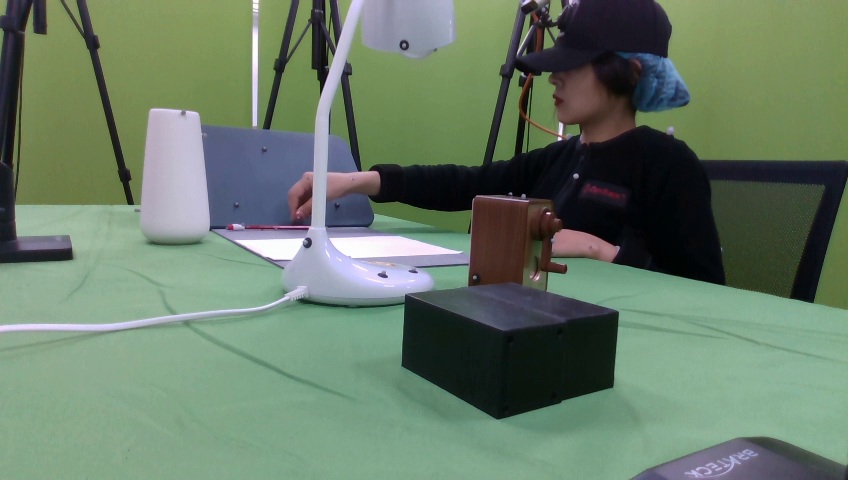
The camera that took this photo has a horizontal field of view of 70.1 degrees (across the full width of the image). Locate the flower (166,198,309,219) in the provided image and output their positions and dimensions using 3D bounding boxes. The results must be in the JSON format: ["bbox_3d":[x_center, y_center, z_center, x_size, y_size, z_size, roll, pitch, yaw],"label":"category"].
[{"bbox_3d":[-0.399,-0.061,1.357,0.044,0.038,0.364,-38,-23,31],"label":"flower"}]

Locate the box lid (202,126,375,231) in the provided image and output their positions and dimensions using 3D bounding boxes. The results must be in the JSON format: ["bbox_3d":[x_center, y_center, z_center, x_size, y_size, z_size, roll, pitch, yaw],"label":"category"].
[{"bbox_3d":[-0.294,-0.128,1.235,0.373,0.262,0.015,-2,-35,-32],"label":"box lid"}]

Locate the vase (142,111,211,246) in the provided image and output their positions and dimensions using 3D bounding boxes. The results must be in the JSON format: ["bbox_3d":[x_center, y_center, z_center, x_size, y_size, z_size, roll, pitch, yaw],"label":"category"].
[{"bbox_3d":[-0.378,-0.093,0.920,0.098,0.200,0.098,2,9,0],"label":"vase"}]

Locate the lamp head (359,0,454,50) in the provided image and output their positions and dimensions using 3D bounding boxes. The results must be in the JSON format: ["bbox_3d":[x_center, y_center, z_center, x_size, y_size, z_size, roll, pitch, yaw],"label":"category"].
[{"bbox_3d":[-0.024,-0.282,0.674,0.112,0.123,0.112,-3,38,3],"label":"lamp head"}]

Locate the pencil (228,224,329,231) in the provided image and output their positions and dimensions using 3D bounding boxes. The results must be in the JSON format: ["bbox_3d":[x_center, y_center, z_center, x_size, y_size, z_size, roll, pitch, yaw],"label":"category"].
[{"bbox_3d":[-0.266,-0.023,1.124,0.195,0.012,0.012,-1,8,-32],"label":"pencil"}]

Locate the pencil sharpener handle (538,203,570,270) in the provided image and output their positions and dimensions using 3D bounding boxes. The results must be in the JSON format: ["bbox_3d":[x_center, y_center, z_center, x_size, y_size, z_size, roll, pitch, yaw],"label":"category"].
[{"bbox_3d":[0.137,-0.003,0.619,0.030,0.067,0.036,8,5,38],"label":"pencil sharpener handle"}]

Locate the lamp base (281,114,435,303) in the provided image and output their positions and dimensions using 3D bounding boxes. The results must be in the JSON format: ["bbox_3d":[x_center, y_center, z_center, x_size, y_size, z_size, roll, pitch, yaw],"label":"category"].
[{"bbox_3d":[-0.071,-0.035,0.614,0.160,0.180,0.180,6,10,27],"label":"lamp base"}]

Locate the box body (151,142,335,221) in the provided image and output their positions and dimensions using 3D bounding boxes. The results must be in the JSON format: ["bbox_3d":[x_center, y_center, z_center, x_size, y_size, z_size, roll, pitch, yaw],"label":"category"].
[{"bbox_3d":[-0.412,-0.135,1.379,0.366,0.160,0.253,-2,9,-31],"label":"box body"}]

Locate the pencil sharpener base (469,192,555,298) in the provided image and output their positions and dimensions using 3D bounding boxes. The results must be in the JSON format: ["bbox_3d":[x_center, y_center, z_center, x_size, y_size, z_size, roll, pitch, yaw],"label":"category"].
[{"bbox_3d":[0.097,0.003,0.652,0.076,0.107,0.061,8,9,38],"label":"pencil sharpener base"}]
